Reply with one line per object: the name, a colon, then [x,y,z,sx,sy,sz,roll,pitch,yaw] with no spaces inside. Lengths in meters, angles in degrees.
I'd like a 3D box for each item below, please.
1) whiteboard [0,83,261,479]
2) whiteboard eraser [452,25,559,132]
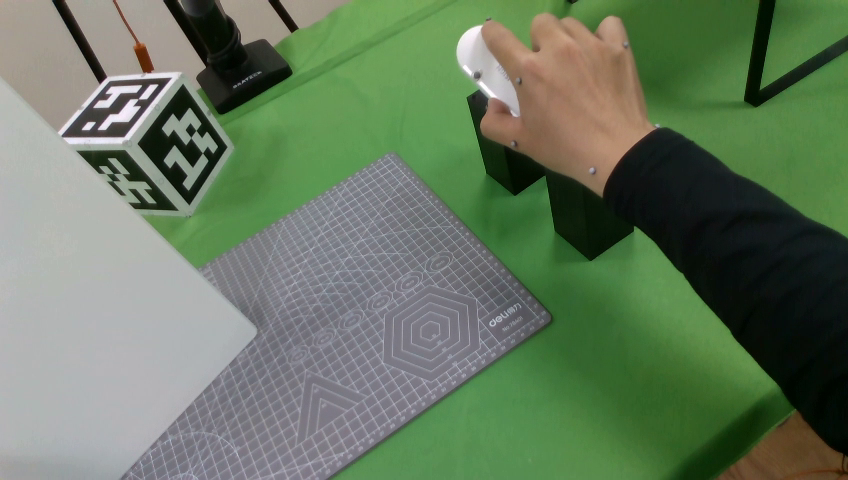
whiteboard: [-0.338,0.051,0.516,0.216,0.308,0.142,-49,34,-21]
whiteboard eraser: [0.064,-0.128,0.480,0.101,0.019,0.041,45,94,2]
